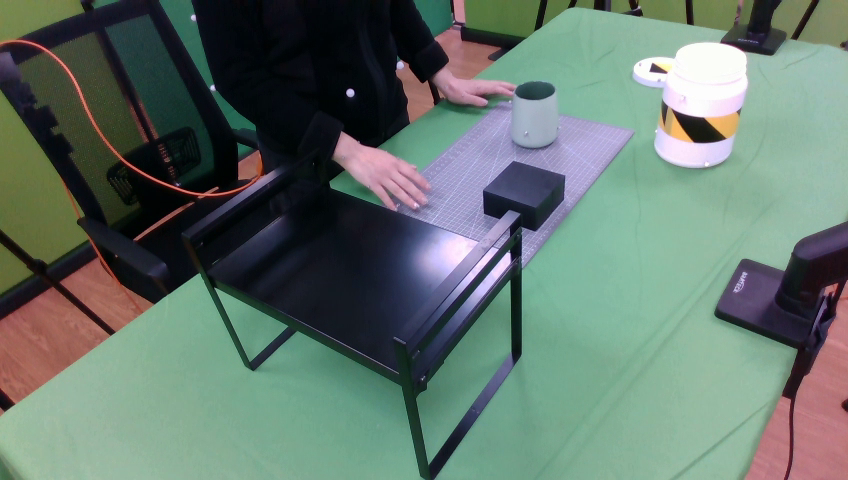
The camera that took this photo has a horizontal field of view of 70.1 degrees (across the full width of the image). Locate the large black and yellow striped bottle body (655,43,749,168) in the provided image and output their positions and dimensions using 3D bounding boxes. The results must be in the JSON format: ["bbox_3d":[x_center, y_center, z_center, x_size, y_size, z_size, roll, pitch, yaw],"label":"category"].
[{"bbox_3d":[0.481,-0.233,1.050,0.131,0.185,0.130,-4,41,4],"label":"large black and yellow striped bottle body"}]

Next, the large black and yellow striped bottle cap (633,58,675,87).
[{"bbox_3d":[0.521,-0.370,1.332,0.115,0.019,0.114,-3,41,4],"label":"large black and yellow striped bottle cap"}]

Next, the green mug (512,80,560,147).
[{"bbox_3d":[0.216,-0.251,1.168,0.092,0.105,0.125,1,41,11],"label":"green mug"}]
